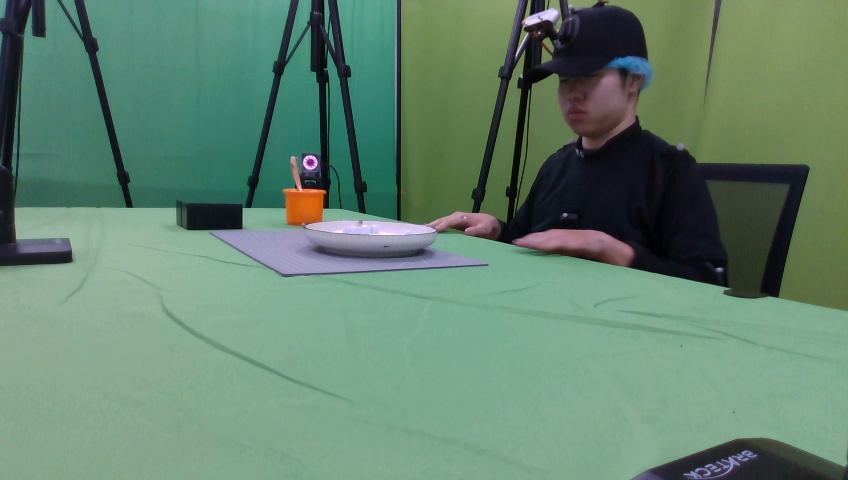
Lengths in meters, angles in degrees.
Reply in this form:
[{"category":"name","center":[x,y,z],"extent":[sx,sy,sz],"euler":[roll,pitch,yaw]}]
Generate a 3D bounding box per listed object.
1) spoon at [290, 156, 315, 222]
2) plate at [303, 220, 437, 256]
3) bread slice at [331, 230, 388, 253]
[{"category":"spoon","center":[-0.274,-0.116,1.329],"extent":[0.042,0.021,0.193],"euler":[-3,49,-25]},{"category":"plate","center":[-0.084,-0.003,0.951],"extent":[0.209,0.038,0.209],"euler":[3,7,0]},{"category":"bread slice","center":[-0.088,0.000,0.947],"extent":[0.105,0.019,0.131],"euler":[-4,11,-45]}]
